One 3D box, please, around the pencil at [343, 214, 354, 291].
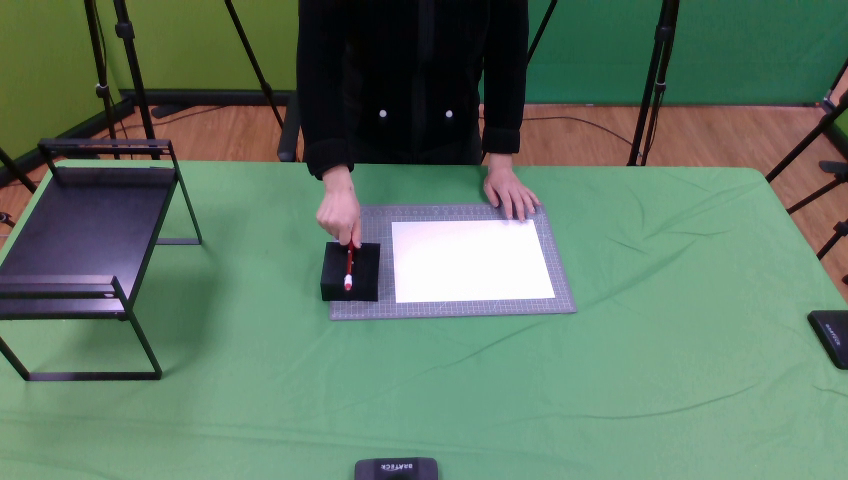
[{"bbox_3d":[-0.134,0.017,1.094,0.012,0.012,0.193,1,45,-3],"label":"pencil"}]
